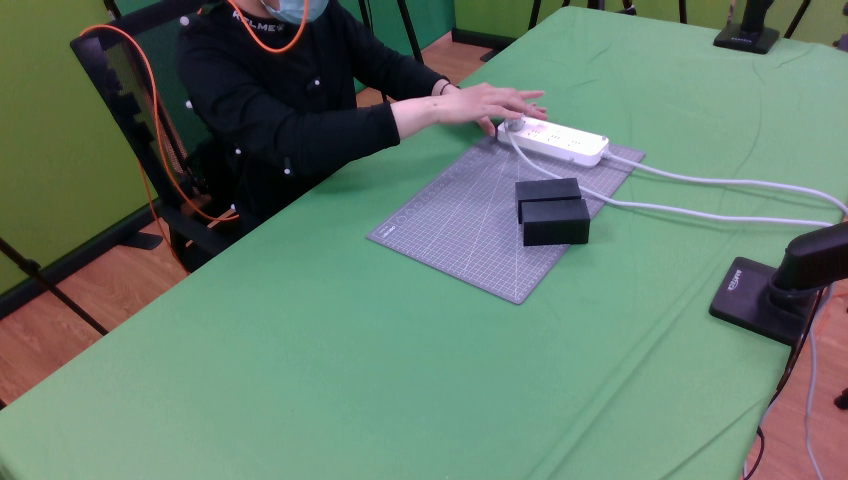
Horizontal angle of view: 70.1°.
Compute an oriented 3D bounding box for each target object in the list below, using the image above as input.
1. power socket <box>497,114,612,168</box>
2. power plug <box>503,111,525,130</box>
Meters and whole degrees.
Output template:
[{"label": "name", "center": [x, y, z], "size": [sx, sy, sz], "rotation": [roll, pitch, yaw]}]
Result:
[{"label": "power socket", "center": [0.240, -0.191, 1.143], "size": [0.225, 0.033, 0.072], "rotation": [24, 50, 30]}, {"label": "power plug", "center": [0.162, -0.216, 1.146], "size": [0.035, 0.053, 0.073], "rotation": [28, 49, 36]}]
